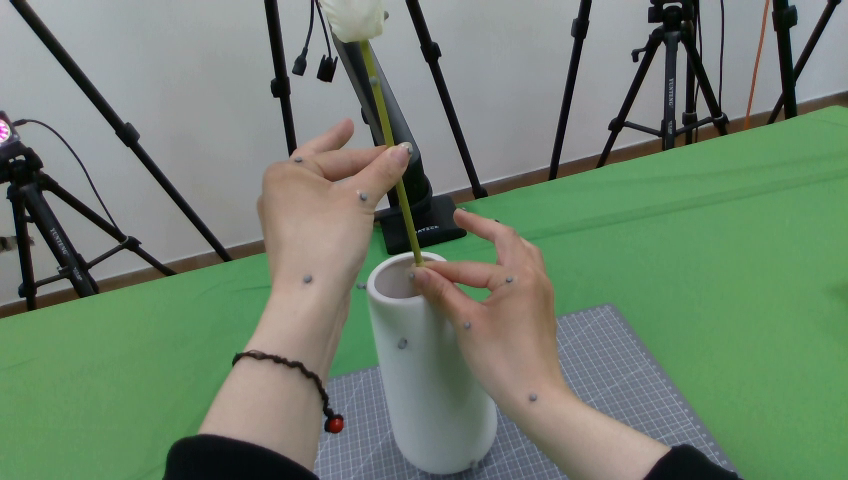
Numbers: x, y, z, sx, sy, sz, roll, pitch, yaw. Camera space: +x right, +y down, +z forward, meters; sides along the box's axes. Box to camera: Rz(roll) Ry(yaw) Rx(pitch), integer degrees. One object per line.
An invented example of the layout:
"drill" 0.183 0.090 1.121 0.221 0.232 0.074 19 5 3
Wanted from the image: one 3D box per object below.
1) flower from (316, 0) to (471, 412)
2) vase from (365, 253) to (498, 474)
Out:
"flower" -0.009 -0.017 0.429 0.038 0.364 0.043 -23 25 -15
"vase" 0.006 0.110 0.527 0.098 0.202 0.097 -10 31 6
